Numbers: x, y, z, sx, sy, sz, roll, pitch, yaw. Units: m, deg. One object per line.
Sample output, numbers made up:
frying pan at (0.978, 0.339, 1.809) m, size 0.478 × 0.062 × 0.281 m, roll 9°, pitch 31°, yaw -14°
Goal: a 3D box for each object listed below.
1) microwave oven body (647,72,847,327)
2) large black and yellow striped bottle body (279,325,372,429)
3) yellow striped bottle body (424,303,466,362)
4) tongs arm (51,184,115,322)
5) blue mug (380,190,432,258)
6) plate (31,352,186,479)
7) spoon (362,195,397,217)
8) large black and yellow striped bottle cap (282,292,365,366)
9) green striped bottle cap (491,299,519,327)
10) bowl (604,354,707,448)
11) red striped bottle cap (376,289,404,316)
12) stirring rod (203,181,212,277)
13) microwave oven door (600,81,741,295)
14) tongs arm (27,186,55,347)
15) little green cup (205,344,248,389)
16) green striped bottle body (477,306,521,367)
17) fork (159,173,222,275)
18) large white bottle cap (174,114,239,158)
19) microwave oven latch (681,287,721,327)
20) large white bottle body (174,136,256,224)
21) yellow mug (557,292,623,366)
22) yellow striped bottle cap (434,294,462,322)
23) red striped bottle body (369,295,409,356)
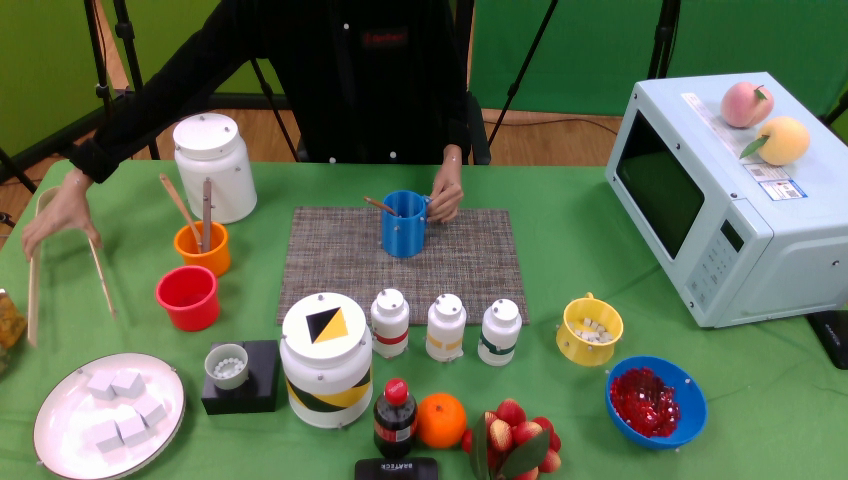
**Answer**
microwave oven body at (0.607, -0.089, 1.164) m, size 0.326 × 0.261 × 0.438 m, roll -7°, pitch 46°, yaw -10°
large black and yellow striped bottle body at (-0.143, 0.181, 0.900) m, size 0.131 × 0.185 × 0.130 m, roll 2°, pitch 46°, yaw -2°
yellow striped bottle body at (0.035, 0.143, 0.995) m, size 0.063 × 0.121 × 0.062 m, roll 3°, pitch 46°, yaw -3°
tongs arm at (-0.620, 0.013, 1.093) m, size 0.051 × 0.026 × 0.382 m, roll -21°, pitch 50°, yaw -20°
blue mug at (-0.030, -0.038, 1.170) m, size 0.116 × 0.106 × 0.082 m, roll -30°, pitch 55°, yaw -29°
plate at (-0.459, 0.262, 0.898) m, size 0.209 × 0.038 × 0.208 m, roll 2°, pitch 46°, yaw -2°
spoon at (-0.065, -0.050, 1.118) m, size 0.021 × 0.195 × 0.041 m, roll -49°, pitch 61°, yaw 1°
large black and yellow striped bottle cap at (-0.139, 0.121, 0.841) m, size 0.115 × 0.019 × 0.114 m, roll 3°, pitch 47°, yaw -3°
green striped bottle cap at (0.128, 0.115, 0.958) m, size 0.044 × 0.020 × 0.044 m, roll 1°, pitch 46°, yaw -1°
bowl at (0.346, 0.261, 0.937) m, size 0.151 × 0.077 × 0.150 m, roll 2°, pitch 46°, yaw -2°
red striped bottle cap at (-0.055, 0.098, 0.958) m, size 0.044 × 0.018 × 0.044 m, roll 0°, pitch 47°, yaw 1°
stirring rod at (-0.396, -0.021, 1.107) m, size 0.014 × 0.006 × 0.176 m, roll -1°, pitch 89°, yaw -1°
microwave oven door at (0.454, -0.107, 1.161) m, size 0.039 × 0.245 × 0.353 m, roll -6°, pitch 47°, yaw -11°
tongs arm at (-0.679, 0.032, 1.070) m, size 0.028 × 0.028 × 0.385 m, roll -17°, pitch 48°, yaw -12°
little green cup at (-0.294, 0.191, 0.909) m, size 0.061 × 0.039 × 0.061 m, roll 2°, pitch 48°, yaw -2°
green striped bottle body at (0.124, 0.151, 0.995) m, size 0.063 × 0.120 × 0.063 m, roll 2°, pitch 46°, yaw -1°
fork at (-0.427, -0.029, 1.103) m, size 0.028 × 0.018 × 0.207 m, roll -31°, pitch 99°, yaw -30°
large white bottle cap at (-0.403, -0.195, 1.122) m, size 0.115 × 0.018 × 0.114 m, roll 2°, pitch 47°, yaw -2°
microwave oven latch at (0.494, 0.119, 1.087) m, size 0.030 × 0.029 × 0.078 m, roll -6°, pitch 46°, yaw -9°
large white bottle body at (-0.407, -0.137, 1.183) m, size 0.131 × 0.185 × 0.130 m, roll 2°, pitch 46°, yaw -2°
yellow mug at (0.285, 0.145, 1.051) m, size 0.100 × 0.064 × 0.130 m, roll 7°, pitch 45°, yaw 4°
yellow striped bottle cap at (0.038, 0.107, 0.958) m, size 0.044 × 0.019 × 0.044 m, roll 2°, pitch 45°, yaw -2°
red striped bottle body at (-0.058, 0.134, 0.997) m, size 0.063 × 0.120 × 0.062 m, roll 4°, pitch 47°, yaw -4°
